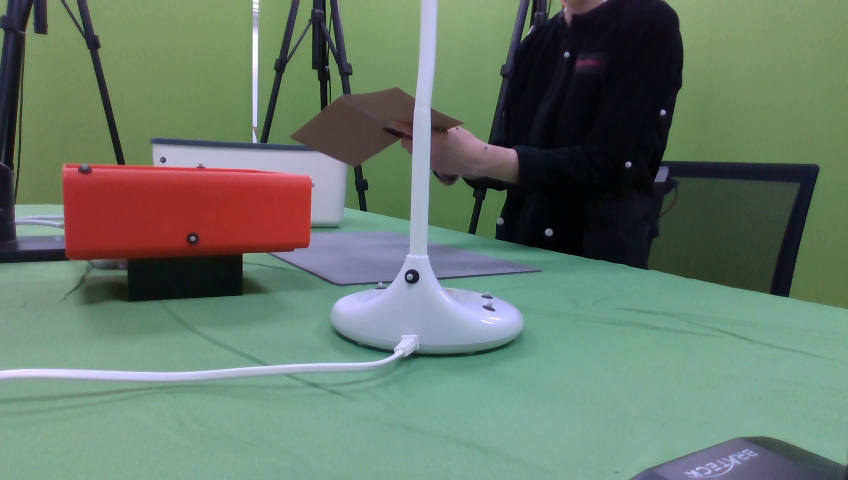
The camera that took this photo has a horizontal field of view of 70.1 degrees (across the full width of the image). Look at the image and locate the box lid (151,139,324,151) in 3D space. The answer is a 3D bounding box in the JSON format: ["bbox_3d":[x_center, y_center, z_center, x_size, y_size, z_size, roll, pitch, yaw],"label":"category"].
[{"bbox_3d":[-0.352,-0.191,1.256,0.373,0.015,0.262,0,8,-18],"label":"box lid"}]

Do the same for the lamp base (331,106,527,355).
[{"bbox_3d":[0.006,-0.012,0.478,0.161,0.180,0.179,2,10,2],"label":"lamp base"}]

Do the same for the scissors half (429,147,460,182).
[{"bbox_3d":[-0.001,-0.149,0.986,0.176,0.040,0.012,39,-20,-33],"label":"scissors half"}]

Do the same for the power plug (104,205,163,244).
[{"bbox_3d":[-0.390,-0.021,0.815,0.073,0.052,0.035,-1,7,-27],"label":"power plug"}]

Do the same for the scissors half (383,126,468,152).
[{"bbox_3d":[0.004,-0.171,0.989,0.176,0.040,0.013,0,-1,-39],"label":"scissors half"}]

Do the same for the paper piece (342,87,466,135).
[{"bbox_3d":[-0.030,-0.183,0.871,0.139,0.008,0.135,24,-8,-40],"label":"paper piece"}]

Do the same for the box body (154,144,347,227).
[{"bbox_3d":[-0.357,-0.119,1.264,0.365,0.160,0.253,0,7,-18],"label":"box body"}]

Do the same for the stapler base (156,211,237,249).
[{"bbox_3d":[-0.227,-0.017,0.624,0.041,0.024,0.130,18,10,-2],"label":"stapler base"}]

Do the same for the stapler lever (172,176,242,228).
[{"bbox_3d":[-0.217,-0.041,0.618,0.027,0.040,0.118,18,11,-2],"label":"stapler lever"}]

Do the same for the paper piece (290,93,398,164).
[{"bbox_3d":[-0.120,-0.171,0.962,0.136,0.004,0.135,21,-34,-39],"label":"paper piece"}]

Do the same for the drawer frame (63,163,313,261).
[{"bbox_3d":[-0.248,-0.036,0.626,0.215,0.082,0.200,-3,9,-31],"label":"drawer frame"}]

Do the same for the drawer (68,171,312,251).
[{"bbox_3d":[-0.247,-0.036,0.629,0.213,0.073,0.193,-2,9,-30],"label":"drawer"}]

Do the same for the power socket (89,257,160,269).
[{"bbox_3d":[-0.409,0.004,0.793,0.072,0.032,0.225,-2,8,-38],"label":"power socket"}]
